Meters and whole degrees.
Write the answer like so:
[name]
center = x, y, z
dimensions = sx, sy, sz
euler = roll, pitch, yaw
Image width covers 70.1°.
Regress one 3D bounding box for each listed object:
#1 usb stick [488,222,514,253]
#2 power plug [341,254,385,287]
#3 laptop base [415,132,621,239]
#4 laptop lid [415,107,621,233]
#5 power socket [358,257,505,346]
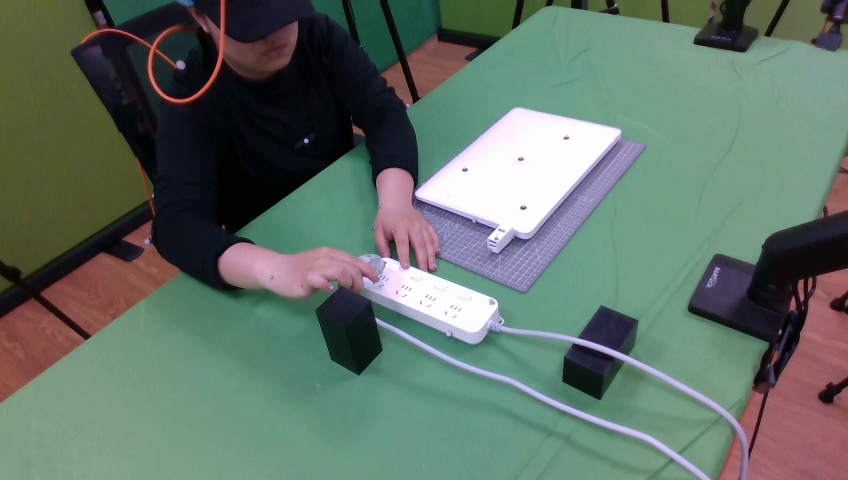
[usb stick]
center = 0.124, -0.008, 0.944
dimensions = 0.021, 0.027, 0.059
euler = 25, 47, 31
[power plug]
center = -0.088, 0.048, 0.854
dimensions = 0.073, 0.053, 0.035
euler = -39, 46, -16
[laptop base]
center = 0.179, -0.134, 1.101
dimensions = 0.233, 0.023, 0.355
euler = 20, 47, 33
[laptop lid]
center = 0.176, -0.144, 1.095
dimensions = 0.239, 0.013, 0.358
euler = 23, 49, 33
[power socket]
center = 0.004, 0.084, 0.862
dimensions = 0.225, 0.033, 0.072
euler = 20, 49, 28
